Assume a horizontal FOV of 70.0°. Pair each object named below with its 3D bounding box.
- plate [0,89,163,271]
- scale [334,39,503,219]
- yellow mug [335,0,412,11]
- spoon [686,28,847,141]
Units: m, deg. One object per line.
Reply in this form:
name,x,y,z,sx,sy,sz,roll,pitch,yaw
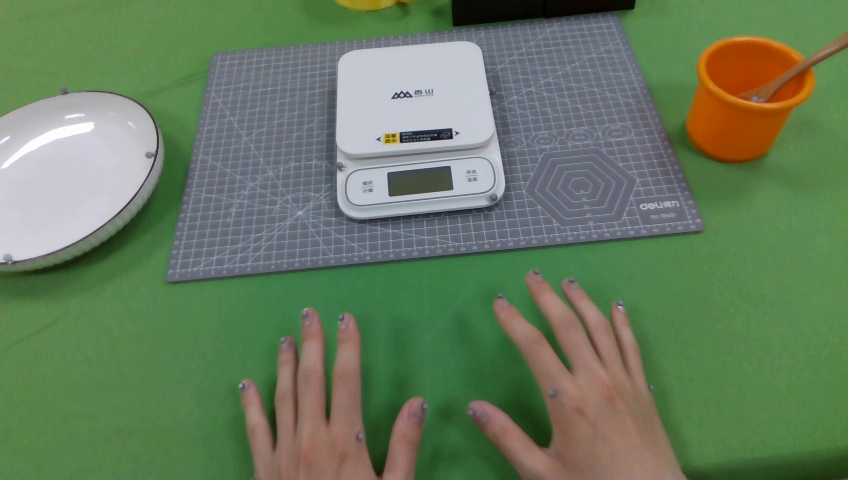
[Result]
plate,-0.342,-0.055,0.558,0.209,0.038,0.207,-2,55,3
scale,-0.010,-0.111,0.570,0.149,0.032,0.199,-6,56,1
yellow mug,-0.057,-0.318,0.700,0.130,0.064,0.100,36,66,25
spoon,0.309,-0.141,0.498,0.022,0.194,0.041,19,50,-37
